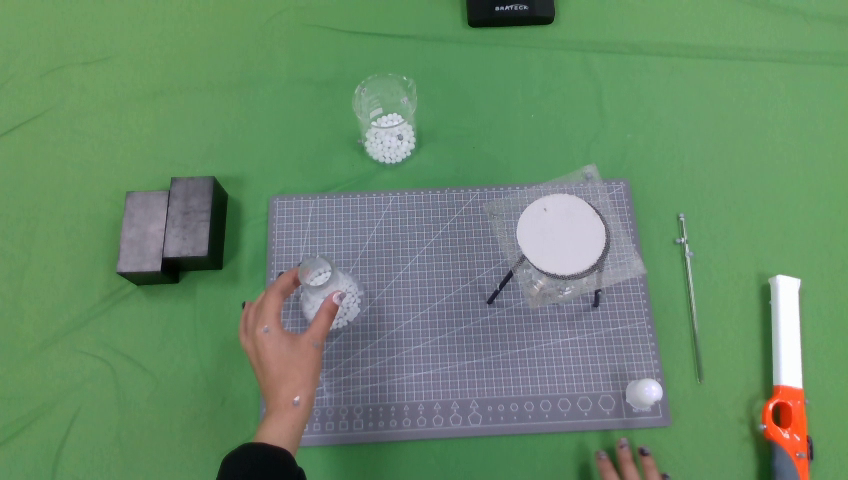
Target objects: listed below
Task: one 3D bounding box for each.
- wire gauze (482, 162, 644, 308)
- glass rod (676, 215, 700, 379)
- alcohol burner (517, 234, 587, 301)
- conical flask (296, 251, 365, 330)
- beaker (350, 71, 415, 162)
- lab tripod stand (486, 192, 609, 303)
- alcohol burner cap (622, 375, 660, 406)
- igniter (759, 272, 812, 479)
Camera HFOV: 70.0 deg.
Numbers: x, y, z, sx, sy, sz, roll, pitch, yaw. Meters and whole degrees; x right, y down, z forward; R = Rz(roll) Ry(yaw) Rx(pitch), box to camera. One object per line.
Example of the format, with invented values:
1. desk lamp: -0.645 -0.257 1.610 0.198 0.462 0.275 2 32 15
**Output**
1. wire gauze: 0.135 -0.006 0.595 0.125 0.011 0.120 -19 73 -5
2. glass rod: 0.309 0.062 0.711 0.008 0.008 0.198 2 70 1
3. alcohol burner: 0.144 0.025 0.667 0.078 0.120 0.077 1 71 -1
4. conical flask: -0.107 0.050 0.654 0.075 0.122 0.075 0 70 1
5. beaker: -0.045 -0.147 0.738 0.084 0.101 0.073 -42 76 -14
6. lab tripod stand: 0.137 0.018 0.659 0.148 0.132 0.147 0 72 1
7. alcohol burner cap: 0.238 0.161 0.656 0.034 0.048 0.033 0 71 0
8. igniter: 0.395 0.169 0.664 0.057 0.025 0.275 12 71 -6
